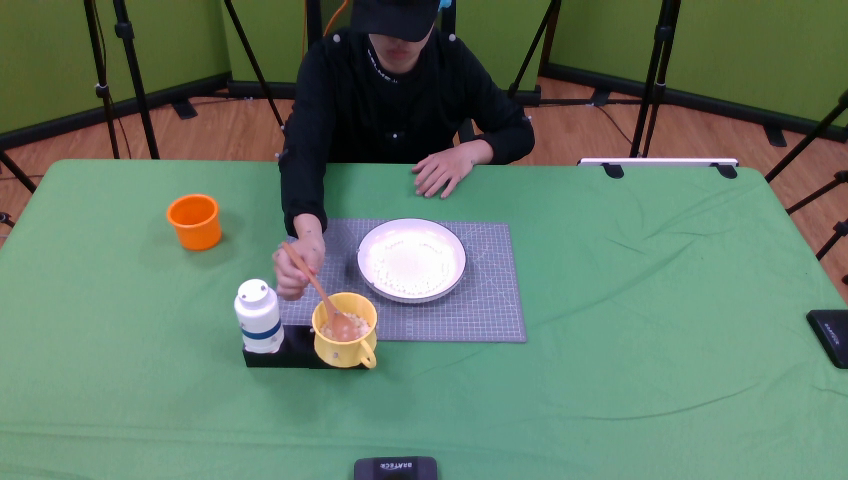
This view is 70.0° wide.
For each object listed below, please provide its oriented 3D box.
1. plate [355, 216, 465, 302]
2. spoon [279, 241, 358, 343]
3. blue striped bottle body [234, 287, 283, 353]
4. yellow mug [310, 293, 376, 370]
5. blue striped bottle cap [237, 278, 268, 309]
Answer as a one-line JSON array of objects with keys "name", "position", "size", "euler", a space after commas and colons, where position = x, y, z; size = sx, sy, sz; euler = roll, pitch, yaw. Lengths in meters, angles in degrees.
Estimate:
[{"name": "plate", "position": [-0.027, 0.039, 1.144], "size": [0.208, 0.039, 0.206], "euler": [2, 46, -2]}, {"name": "spoon", "position": [-0.162, 0.080, 0.931], "size": [0.194, 0.021, 0.041], "euler": [59, 41, -9]}, {"name": "blue striped bottle body", "position": [-0.254, 0.114, 0.929], "size": [0.063, 0.121, 0.062], "euler": [2, 46, -2]}, {"name": "yellow mug", "position": [-0.116, 0.150, 0.945], "size": [0.100, 0.064, 0.130], "euler": [-29, 57, -29]}, {"name": "blue striped bottle cap", "position": [-0.252, 0.078, 0.892], "size": [0.044, 0.021, 0.044], "euler": [5, 47, -5]}]
